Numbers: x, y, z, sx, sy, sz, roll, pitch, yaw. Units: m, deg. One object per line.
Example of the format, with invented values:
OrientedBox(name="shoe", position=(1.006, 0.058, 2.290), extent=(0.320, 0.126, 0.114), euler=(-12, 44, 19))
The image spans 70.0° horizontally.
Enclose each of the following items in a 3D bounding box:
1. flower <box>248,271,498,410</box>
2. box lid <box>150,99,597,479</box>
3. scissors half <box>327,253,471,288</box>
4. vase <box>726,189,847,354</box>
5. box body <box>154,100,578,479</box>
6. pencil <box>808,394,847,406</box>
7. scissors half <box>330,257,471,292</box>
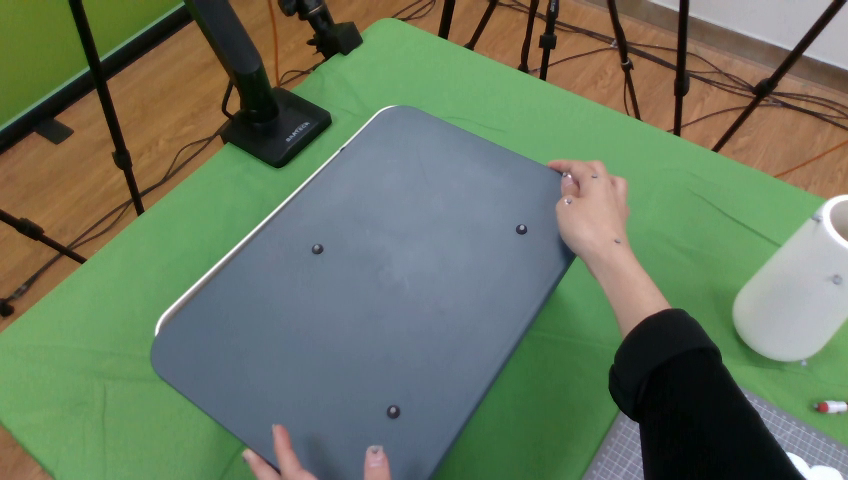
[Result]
OrientedBox(name="flower", position=(-0.036, 0.100, 0.709), extent=(0.362, 0.044, 0.038), euler=(-23, 32, -37))
OrientedBox(name="box lid", position=(-0.033, 0.028, 0.549), extent=(0.261, 0.015, 0.370), euler=(29, 64, 20))
OrientedBox(name="scissors half", position=(-0.031, 0.031, 0.725), extent=(0.175, 0.040, 0.012), euler=(5, 20, 6))
OrientedBox(name="vase", position=(0.384, 0.036, 0.611), extent=(0.098, 0.202, 0.097), euler=(-1, 54, 2))
OrientedBox(name="box body", position=(-0.039, 0.058, 0.633), extent=(0.252, 0.162, 0.363), euler=(29, 61, 20))
OrientedBox(name="pencil", position=(0.500, 0.162, 0.636), extent=(0.194, 0.012, 0.012), euler=(-3, 55, -2))
OrientedBox(name="scissors half", position=(-0.030, 0.044, 0.730), extent=(0.175, 0.040, 0.013), euler=(-3, 13, 10))
